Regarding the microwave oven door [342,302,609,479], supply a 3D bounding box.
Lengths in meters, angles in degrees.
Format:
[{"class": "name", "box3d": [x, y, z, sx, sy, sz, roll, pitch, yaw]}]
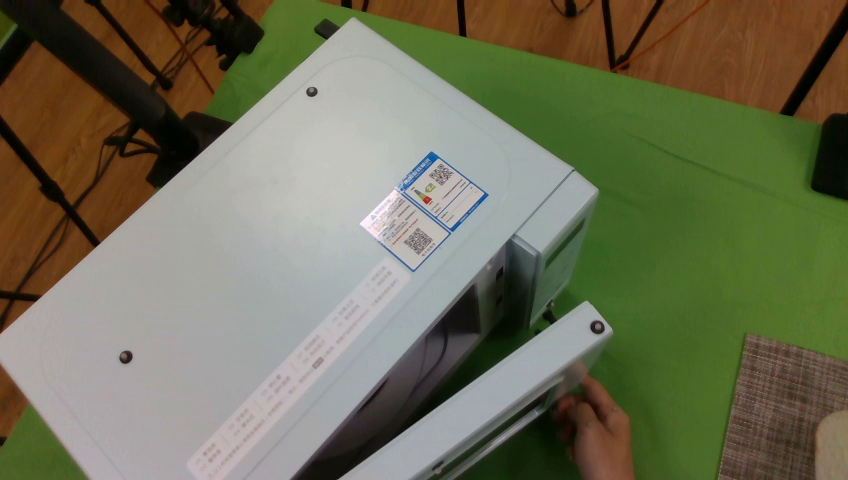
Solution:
[{"class": "microwave oven door", "box3d": [0.001, 0.195, 0.542, 0.356, 0.246, 0.039, -34, 67, -8]}]

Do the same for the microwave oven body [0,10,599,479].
[{"class": "microwave oven body", "box3d": [-0.102, 0.055, 0.616, 0.324, 0.262, 0.441, 39, 78, 19]}]

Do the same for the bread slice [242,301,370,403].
[{"class": "bread slice", "box3d": [-0.128, 0.128, 0.659, 0.134, 0.018, 0.106, -8, 65, -8]}]

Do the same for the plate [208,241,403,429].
[{"class": "plate", "box3d": [-0.126, 0.102, 0.662, 0.207, 0.039, 0.206, -1, 65, 2]}]

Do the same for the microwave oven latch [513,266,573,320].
[{"class": "microwave oven latch", "box3d": [0.137, 0.053, 0.694, 0.030, 0.030, 0.079, 41, 78, 19]}]
